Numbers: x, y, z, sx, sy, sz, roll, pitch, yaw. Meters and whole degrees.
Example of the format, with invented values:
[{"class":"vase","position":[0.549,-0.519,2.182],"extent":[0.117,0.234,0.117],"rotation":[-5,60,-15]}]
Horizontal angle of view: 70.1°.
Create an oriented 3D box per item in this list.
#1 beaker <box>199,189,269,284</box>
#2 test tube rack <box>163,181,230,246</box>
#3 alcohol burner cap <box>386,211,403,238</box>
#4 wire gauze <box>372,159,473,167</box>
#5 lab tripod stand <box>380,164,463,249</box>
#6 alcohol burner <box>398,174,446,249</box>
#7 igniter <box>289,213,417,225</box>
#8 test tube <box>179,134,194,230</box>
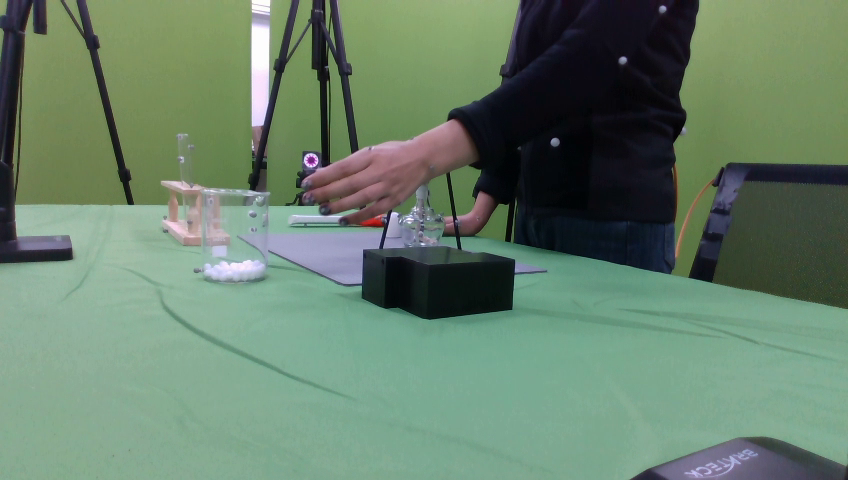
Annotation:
[{"class":"beaker","position":[-0.209,-0.006,0.676],"extent":[0.073,0.100,0.084],"rotation":[7,8,28]},{"class":"test tube rack","position":[-0.387,-0.050,1.015],"extent":[0.067,0.085,0.241],"rotation":[-2,9,-30]},{"class":"alcohol burner cap","position":[-0.053,-0.029,1.107],"extent":[0.034,0.048,0.034],"rotation":[3,8,0]},{"class":"wire gauze","position":[-0.004,-0.122,0.959],"extent":[0.122,0.011,0.124],"rotation":[-4,9,-33]},{"class":"lab tripod stand","position":[-0.004,-0.055,0.967],"extent":[0.148,0.131,0.148],"rotation":[2,9,0]},{"class":"alcohol burner","position":[-0.003,-0.046,0.973],"extent":[0.078,0.119,0.078],"rotation":[0,7,0]},{"class":"igniter","position":[-0.144,-0.044,1.275],"extent":[0.278,0.025,0.057],"rotation":[-1,-2,-27]},{"class":"test tube","position":[-0.366,-0.089,0.938],"extent":[0.017,0.150,0.017],"rotation":[-1,9,1]}]
